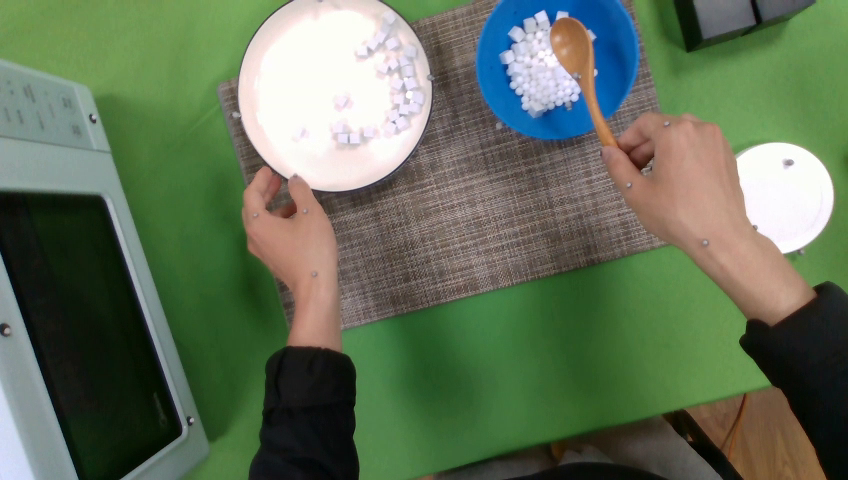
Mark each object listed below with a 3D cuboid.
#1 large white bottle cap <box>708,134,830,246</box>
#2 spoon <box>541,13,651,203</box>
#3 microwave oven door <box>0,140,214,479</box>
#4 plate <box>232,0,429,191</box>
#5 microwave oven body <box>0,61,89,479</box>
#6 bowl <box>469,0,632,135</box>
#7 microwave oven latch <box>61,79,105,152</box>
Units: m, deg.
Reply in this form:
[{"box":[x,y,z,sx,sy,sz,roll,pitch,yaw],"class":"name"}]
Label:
[{"box":[0.353,-0.050,0.621,0.115,0.018,0.115,0,94,5],"class":"large white bottle cap"},{"box":[0.146,-0.115,0.521,0.041,0.022,0.192,-34,63,37],"class":"spoon"},{"box":[-0.322,0.082,0.568,0.039,0.244,0.356,-19,92,7],"class":"microwave oven door"},{"box":[-0.097,-0.155,0.643,0.209,0.038,0.209,0,94,5],"class":"plate"},{"box":[-0.473,0.087,0.588,0.326,0.260,0.442,-18,93,6],"class":"microwave oven body"},{"box":[0.121,-0.175,0.600,0.151,0.077,0.151,0,94,6],"class":"bowl"},{"box":[-0.378,-0.132,0.659,0.030,0.029,0.079,-19,93,6],"class":"microwave oven latch"}]
